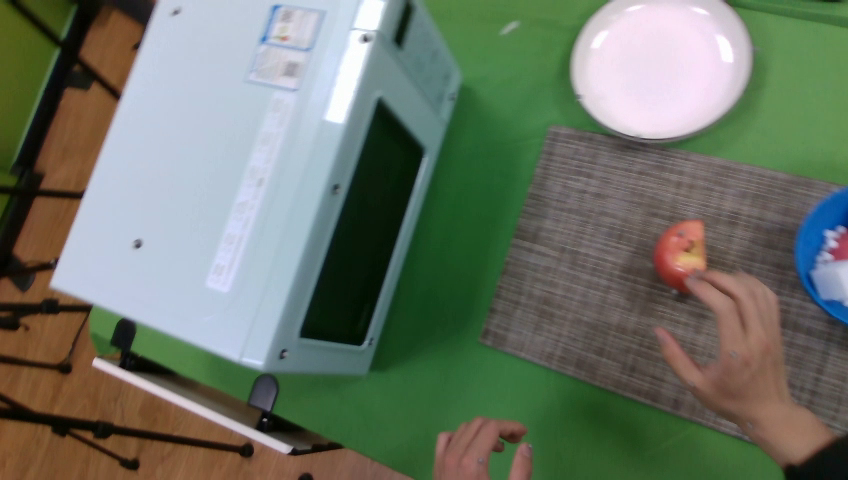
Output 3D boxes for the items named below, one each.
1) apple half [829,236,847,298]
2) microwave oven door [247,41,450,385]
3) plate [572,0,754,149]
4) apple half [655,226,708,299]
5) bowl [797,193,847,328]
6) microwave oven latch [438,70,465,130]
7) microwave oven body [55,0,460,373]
[{"bbox_3d":[0.455,0.028,0.609,0.081,0.033,0.081,-5,75,19],"label":"apple half"},{"bbox_3d":[-0.070,-0.009,0.701,0.039,0.246,0.355,15,82,22],"label":"microwave oven door"},{"bbox_3d":[0.292,-0.208,0.754,0.207,0.039,0.206,-4,76,18],"label":"plate"},{"bbox_3d":[0.286,0.027,0.676,0.053,0.075,0.080,-4,79,22],"label":"apple half"},{"bbox_3d":[0.457,0.028,0.614,0.151,0.077,0.150,-5,75,19],"label":"bowl"},{"bbox_3d":[0.032,-0.191,0.820,0.030,0.030,0.079,15,83,21],"label":"microwave oven latch"},{"bbox_3d":[-0.187,-0.082,0.764,0.324,0.262,0.440,15,83,21],"label":"microwave oven body"}]
